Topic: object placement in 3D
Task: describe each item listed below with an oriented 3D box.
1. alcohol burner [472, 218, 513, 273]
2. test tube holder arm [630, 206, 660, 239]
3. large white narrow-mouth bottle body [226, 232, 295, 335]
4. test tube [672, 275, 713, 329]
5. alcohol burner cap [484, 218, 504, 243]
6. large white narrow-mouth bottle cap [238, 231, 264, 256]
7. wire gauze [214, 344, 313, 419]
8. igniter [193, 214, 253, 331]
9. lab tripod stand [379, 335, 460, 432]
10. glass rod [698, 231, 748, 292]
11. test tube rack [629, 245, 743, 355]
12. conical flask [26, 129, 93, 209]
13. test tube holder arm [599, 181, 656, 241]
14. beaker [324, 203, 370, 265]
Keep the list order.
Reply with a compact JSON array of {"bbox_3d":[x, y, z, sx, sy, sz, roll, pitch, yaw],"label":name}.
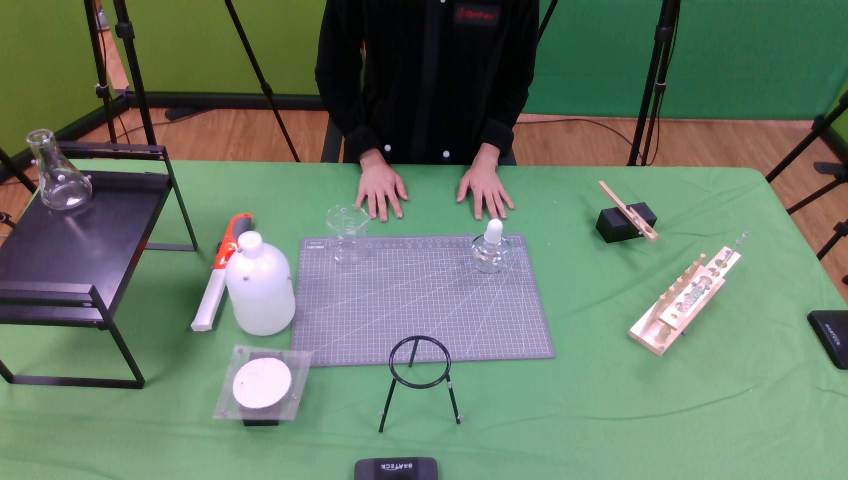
[{"bbox_3d":[0.128,0.005,1.132,0.078,0.120,0.077,0,47,0],"label":"alcohol burner"},{"bbox_3d":[0.431,-0.035,1.192,0.010,0.015,0.087,-23,51,-13],"label":"test tube holder arm"},{"bbox_3d":[-0.270,0.065,0.995,0.102,0.195,0.101,2,46,-2],"label":"large white narrow-mouth bottle body"},{"bbox_3d":[0.438,0.106,1.007,0.017,0.151,0.017,4,51,-4],"label":"test tube"},{"bbox_3d":[0.130,-0.021,1.106,0.034,0.048,0.033,3,51,-4],"label":"alcohol burner cap"},{"bbox_3d":[-0.266,0.006,0.932,0.038,0.024,0.037,2,46,-2],"label":"large white narrow-mouth bottle cap"},{"bbox_3d":[-0.241,0.213,0.916,0.121,0.011,0.124,5,46,1],"label":"wire gauze"},{"bbox_3d":[-0.368,0.050,1.119,0.057,0.025,0.275,-3,46,8],"label":"igniter"},{"bbox_3d":[-0.011,0.214,0.912,0.148,0.132,0.147,1,45,0],"label":"lab tripod stand"},{"bbox_3d":[0.514,0.044,1.051,0.008,0.200,0.008,1,55,-1],"label":"glass rod"},{"bbox_3d":[0.474,0.095,1.091,0.242,0.085,0.066,-34,56,-31],"label":"test tube rack"},{"bbox_3d":[-0.575,-0.113,0.946,0.075,0.122,0.075,2,46,-2],"label":"conical flask"},{"bbox_3d":[0.407,-0.062,1.219,0.013,0.015,0.177,-23,51,-13],"label":"test tube holder arm"},{"bbox_3d":[-0.142,-0.009,1.137,0.084,0.101,0.073,-3,47,-7],"label":"beaker"}]
